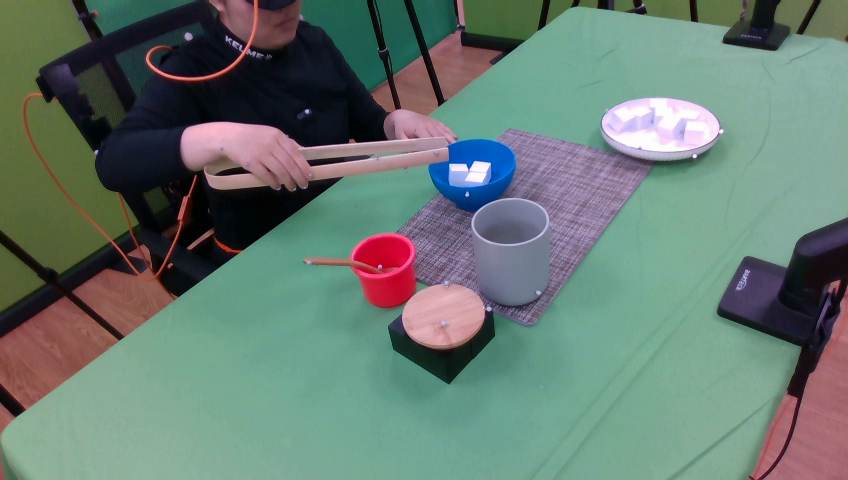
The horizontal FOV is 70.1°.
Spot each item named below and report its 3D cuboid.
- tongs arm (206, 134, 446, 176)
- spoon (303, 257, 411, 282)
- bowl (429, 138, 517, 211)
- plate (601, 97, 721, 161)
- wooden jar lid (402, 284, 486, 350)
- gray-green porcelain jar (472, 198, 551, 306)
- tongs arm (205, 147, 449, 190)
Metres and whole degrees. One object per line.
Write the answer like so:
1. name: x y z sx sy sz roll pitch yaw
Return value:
1. tongs arm: -0.155 -0.139 0.988 0.388 0.028 0.028 -8 47 -5
2. spoon: -0.092 0.038 0.865 0.195 0.021 0.041 16 15 -46
3. bowl: 0.087 -0.104 1.043 0.151 0.077 0.150 -5 40 5
4. plate: 0.436 -0.203 1.126 0.209 0.038 0.208 -5 39 5
5. wooden jar lid: 0.026 0.101 0.786 0.108 0.021 0.108 -5 39 4
6. gray-green porcelain jar: 0.125 0.021 0.850 0.106 0.127 0.105 -6 40 5
7. tongs arm: -0.152 -0.121 0.968 0.386 0.026 0.050 -10 44 -7
